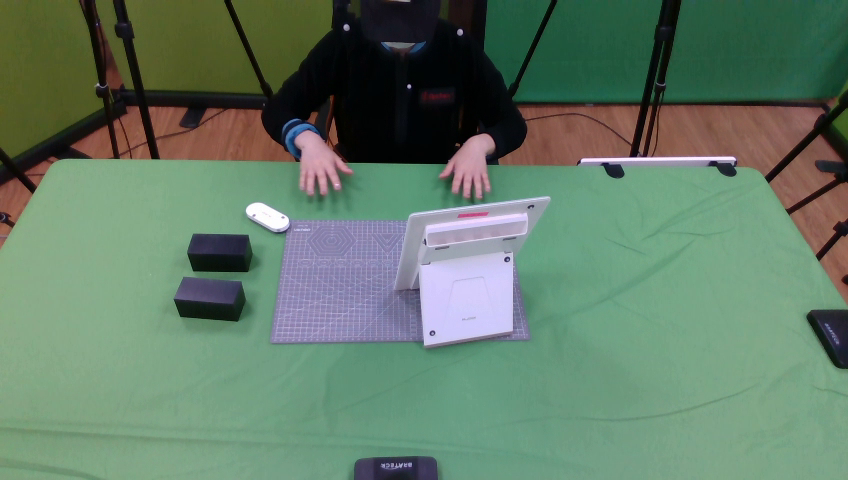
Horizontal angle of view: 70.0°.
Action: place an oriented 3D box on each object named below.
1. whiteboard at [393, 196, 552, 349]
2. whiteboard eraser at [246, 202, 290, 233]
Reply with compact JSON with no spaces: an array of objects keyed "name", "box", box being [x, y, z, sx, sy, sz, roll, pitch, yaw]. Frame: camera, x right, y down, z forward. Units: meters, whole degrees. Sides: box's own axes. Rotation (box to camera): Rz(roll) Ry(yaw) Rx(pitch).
[{"name":"whiteboard","box":[0.077,0.071,0.977,0.217,0.306,0.143,-7,66,-11]},{"name":"whiteboard eraser","box":[-0.315,-0.047,1.218,0.101,0.019,0.041,28,51,22]}]
